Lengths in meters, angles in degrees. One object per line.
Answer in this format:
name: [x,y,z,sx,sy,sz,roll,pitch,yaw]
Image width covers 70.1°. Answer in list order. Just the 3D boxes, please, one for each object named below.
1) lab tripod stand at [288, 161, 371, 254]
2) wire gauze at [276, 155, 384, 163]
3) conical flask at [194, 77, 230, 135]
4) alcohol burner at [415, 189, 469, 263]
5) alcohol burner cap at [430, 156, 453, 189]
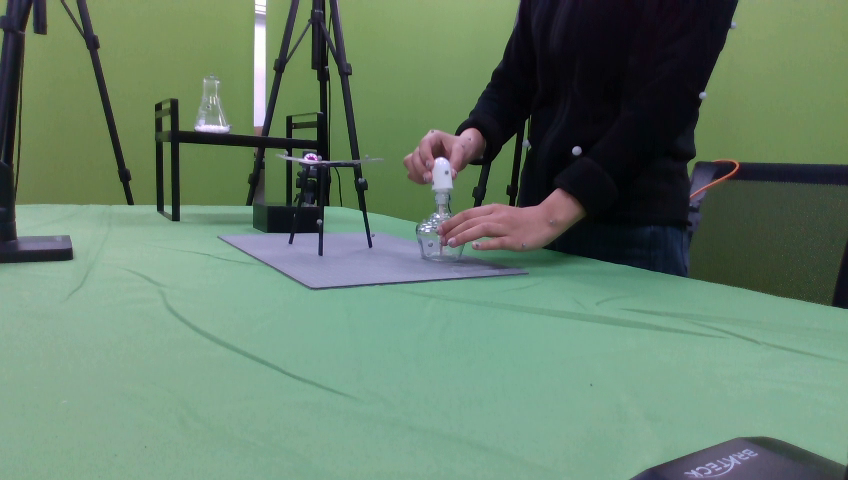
lab tripod stand: [-0.148,-0.053,0.909,0.148,0.131,0.148,1,8,0]
wire gauze: [-0.142,-0.118,0.900,0.122,0.011,0.124,-3,8,-37]
conical flask: [-0.461,-0.292,1.317,0.075,0.122,0.075,2,7,0]
alcohol burner: [0.026,-0.028,0.863,0.078,0.119,0.078,0,7,0]
alcohol burner cap: [0.023,-0.094,0.851,0.034,0.048,0.034,-6,9,1]
